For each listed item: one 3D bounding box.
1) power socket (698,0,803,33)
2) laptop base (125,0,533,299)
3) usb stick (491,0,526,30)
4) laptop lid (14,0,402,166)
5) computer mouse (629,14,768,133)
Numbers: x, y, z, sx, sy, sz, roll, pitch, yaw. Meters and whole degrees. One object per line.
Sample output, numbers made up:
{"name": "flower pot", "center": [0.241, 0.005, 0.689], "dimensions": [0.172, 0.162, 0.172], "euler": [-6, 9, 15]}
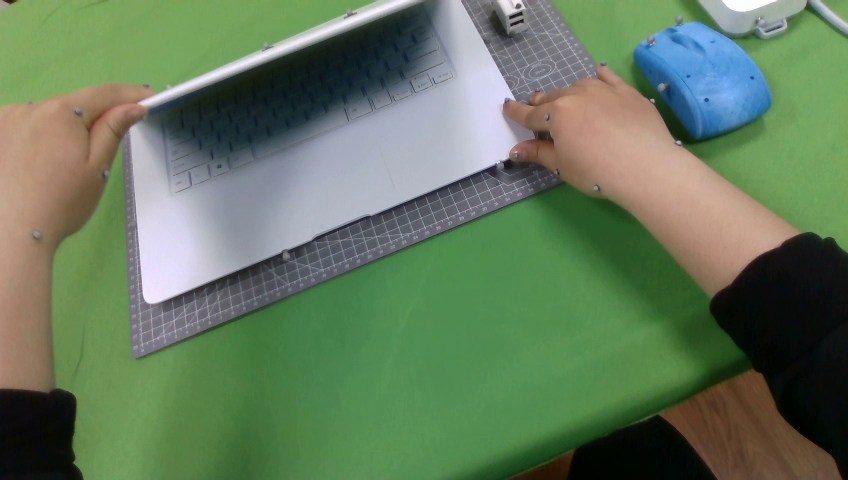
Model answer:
{"name": "power socket", "center": [0.256, -0.272, 0.544], "dimensions": [0.072, 0.033, 0.224], "euler": [-20, 58, 5]}
{"name": "laptop base", "center": [-0.105, -0.105, 0.558], "dimensions": [0.354, 0.023, 0.233], "euler": [-23, 61, 2]}
{"name": "usb stick", "center": [0.075, -0.228, 0.571], "dimensions": [0.021, 0.027, 0.058], "euler": [-23, 56, 8]}
{"name": "laptop lid", "center": [-0.130, -0.159, 0.503], "dimensions": [0.357, 0.013, 0.239], "euler": [-22, 23, 4]}
{"name": "computer mouse", "center": [0.214, -0.138, 0.479], "dimensions": [0.063, 0.041, 0.116], "euler": [-23, 54, 5]}
